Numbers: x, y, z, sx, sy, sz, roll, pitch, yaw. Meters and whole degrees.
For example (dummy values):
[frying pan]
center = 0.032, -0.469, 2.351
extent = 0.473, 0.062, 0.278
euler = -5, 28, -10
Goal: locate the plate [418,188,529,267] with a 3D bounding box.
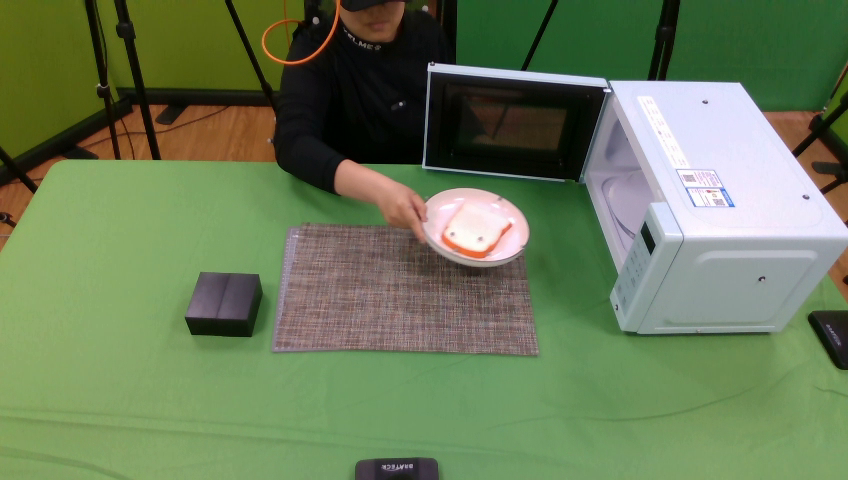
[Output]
[plate]
center = 0.090, -0.020, 1.128
extent = 0.209, 0.038, 0.208
euler = 6, 42, -6

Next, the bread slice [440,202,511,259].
[bread slice]
center = 0.093, -0.017, 1.129
extent = 0.104, 0.019, 0.131
euler = 25, 43, 16

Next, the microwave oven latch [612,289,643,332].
[microwave oven latch]
center = 0.357, 0.124, 1.068
extent = 0.030, 0.029, 0.078
euler = 0, 45, -3

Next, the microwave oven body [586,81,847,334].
[microwave oven body]
center = 0.501, -0.070, 1.132
extent = 0.326, 0.261, 0.438
euler = -1, 45, -3

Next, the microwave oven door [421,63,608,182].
[microwave oven door]
center = 0.178, -0.241, 1.268
extent = 0.356, 0.245, 0.039
euler = 5, 46, 1
